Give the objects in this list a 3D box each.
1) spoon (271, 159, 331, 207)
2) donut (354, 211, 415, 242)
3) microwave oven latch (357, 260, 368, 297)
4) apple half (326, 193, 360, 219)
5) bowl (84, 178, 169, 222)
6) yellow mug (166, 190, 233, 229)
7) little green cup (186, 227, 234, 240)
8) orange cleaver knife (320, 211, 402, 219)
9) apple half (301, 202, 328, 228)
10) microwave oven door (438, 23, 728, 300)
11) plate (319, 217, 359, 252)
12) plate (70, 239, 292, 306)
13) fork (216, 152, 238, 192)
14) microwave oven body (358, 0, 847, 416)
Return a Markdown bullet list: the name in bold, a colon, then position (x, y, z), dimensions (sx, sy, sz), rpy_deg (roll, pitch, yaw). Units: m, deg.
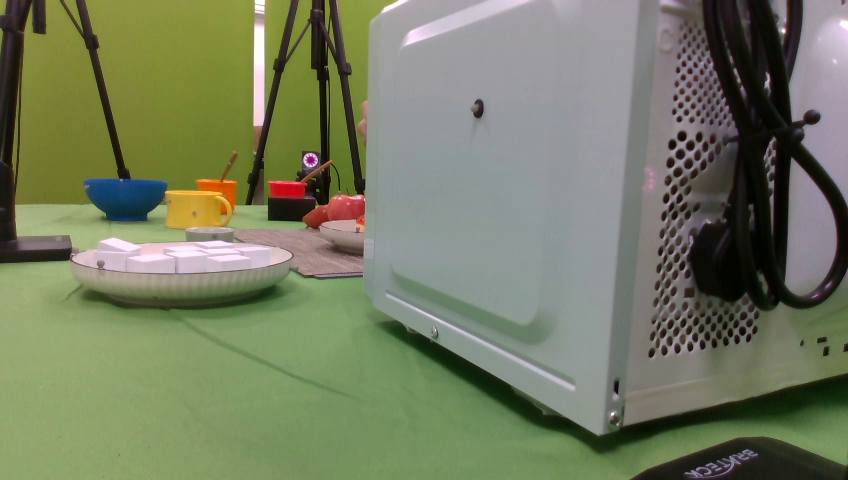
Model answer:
- **spoon**: position (-0.308, -0.142, 1.514), dimensions (0.193, 0.021, 0.041), rpy_deg (-41, 3, 8)
- **donut**: position (-0.062, -0.020, 0.955), dimensions (0.099, 0.048, 0.099), rpy_deg (5, 7, 0)
- **microwave oven latch**: position (-0.019, 0.033, 0.531), dimensions (0.079, 0.029, 0.030), rpy_deg (-1, 7, -27)
- **apple half**: position (-0.135, -0.047, 1.089), dimensions (0.081, 0.074, 0.053), rpy_deg (5, 10, -12)
- **bowl**: position (-0.584, -0.078, 1.194), dimensions (0.151, 0.077, 0.151), rpy_deg (3, 8, 0)
- **yellow mug**: position (-0.415, -0.057, 1.132), dimensions (0.130, 0.064, 0.100), rpy_deg (6, 8, 16)
- **little green cup**: position (-0.284, 0.005, 0.805), dimensions (0.061, 0.038, 0.061), rpy_deg (2, 8, 0)
- **orange cleaver knife**: position (-0.142, -0.056, 1.394), dimensions (0.077, 0.012, 0.212), rpy_deg (3, 7, 44)
- **apple half**: position (-0.194, -0.043, 1.172), dimensions (0.081, 0.032, 0.081), rpy_deg (-21, -16, -6)
- **microwave oven door**: position (0.181, -0.072, 0.621), dimensions (0.358, 0.243, 0.039), rpy_deg (-2, 8, -29)
- **plate**: position (-0.058, -0.007, 0.939), dimensions (0.209, 0.038, 0.209), rpy_deg (3, 8, 0)
- **plate**: position (-0.242, 0.032, 0.618), dimensions (0.208, 0.039, 0.207), rpy_deg (3, 8, 0)
- **fork**: position (-0.455, -0.132, 1.367), dimensions (0.028, 0.018, 0.207), rpy_deg (-2, -35, -38)
- **microwave oven body**: position (0.211, -0.047, 0.474), dimensions (0.444, 0.260, 0.324), rpy_deg (-1, 7, -28)
